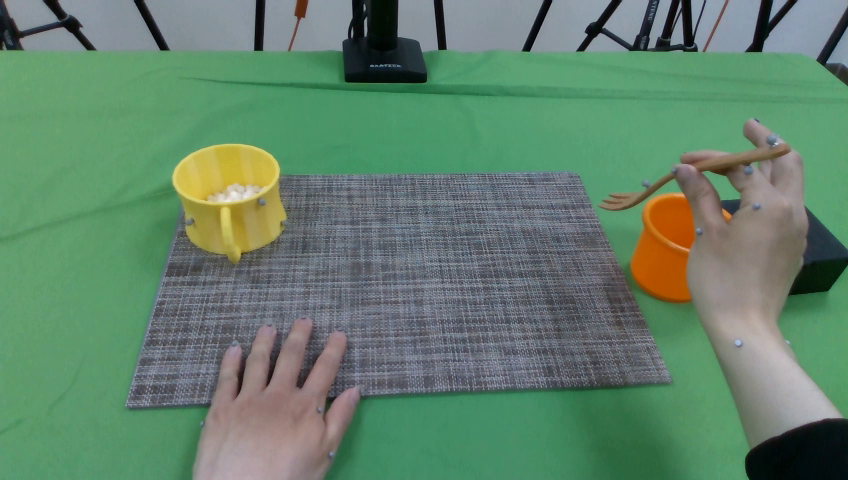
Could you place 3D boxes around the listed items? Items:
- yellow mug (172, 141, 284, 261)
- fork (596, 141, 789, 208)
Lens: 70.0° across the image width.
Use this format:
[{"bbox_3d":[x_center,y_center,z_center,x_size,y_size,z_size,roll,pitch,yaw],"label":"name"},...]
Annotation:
[{"bbox_3d":[-0.192,-0.035,0.601,0.100,0.064,0.129,-5,45,-12],"label":"yellow mug"},{"bbox_3d":[0.198,-0.049,0.476,0.028,0.207,0.018,-34,91,-16],"label":"fork"}]
